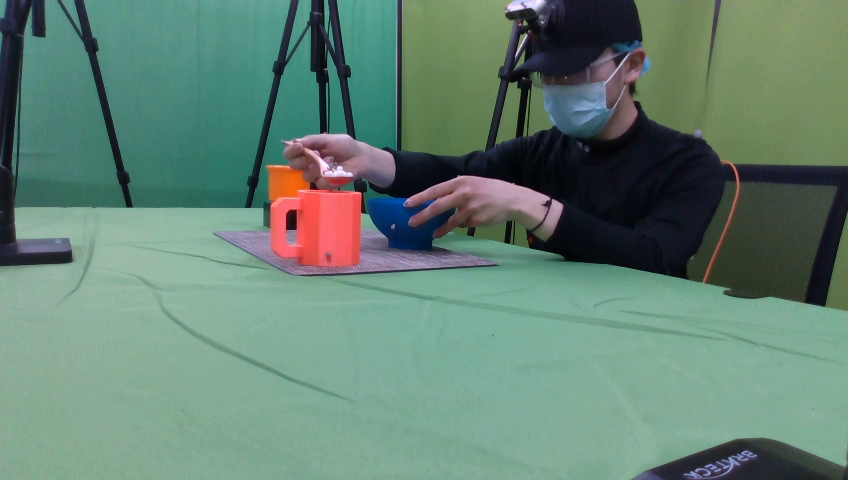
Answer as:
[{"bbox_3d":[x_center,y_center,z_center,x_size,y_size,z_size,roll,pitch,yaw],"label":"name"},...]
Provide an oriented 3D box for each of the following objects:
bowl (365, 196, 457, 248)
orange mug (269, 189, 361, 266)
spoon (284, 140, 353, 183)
[{"bbox_3d":[-0.022,-0.030,1.000,0.151,0.077,0.151,2,7,0],"label":"bowl"},{"bbox_3d":[-0.142,-0.019,0.796,0.127,0.100,0.083,3,5,-39],"label":"orange mug"},{"bbox_3d":[-0.159,-0.118,0.880,0.042,0.021,0.192,-9,31,-34],"label":"spoon"}]
